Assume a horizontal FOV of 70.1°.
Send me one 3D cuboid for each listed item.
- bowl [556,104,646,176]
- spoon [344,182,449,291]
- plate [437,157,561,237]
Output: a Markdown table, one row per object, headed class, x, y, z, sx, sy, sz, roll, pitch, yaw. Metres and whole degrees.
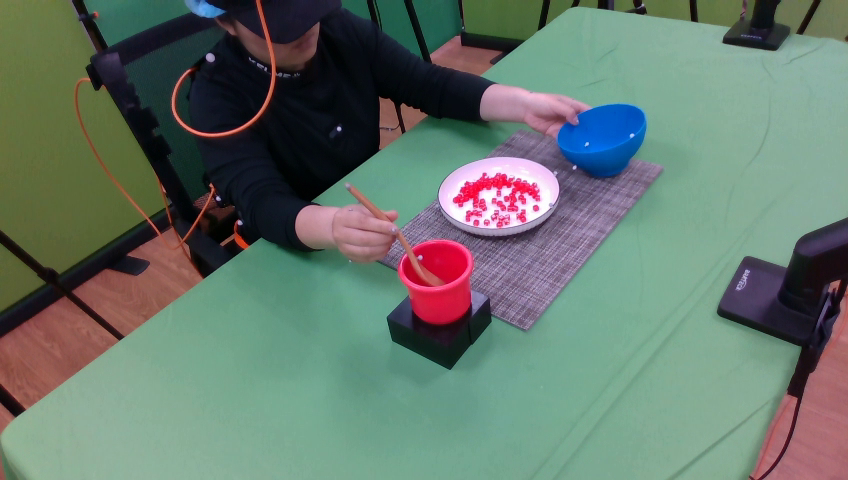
| class | x | y | z | sx | sy | sz | roll | pitch | yaw |
| --- | --- | --- | --- | --- | --- | --- | --- | --- | --- |
| bowl | 0.313 | -0.164 | 1.051 | 0.151 | 0.077 | 0.150 | -16 | 35 | 13 |
| spoon | -0.033 | -0.003 | 0.764 | 0.021 | 0.195 | 0.041 | -35 | 20 | 11 |
| plate | 0.127 | -0.070 | 1.024 | 0.207 | 0.039 | 0.206 | -5 | 40 | 5 |
